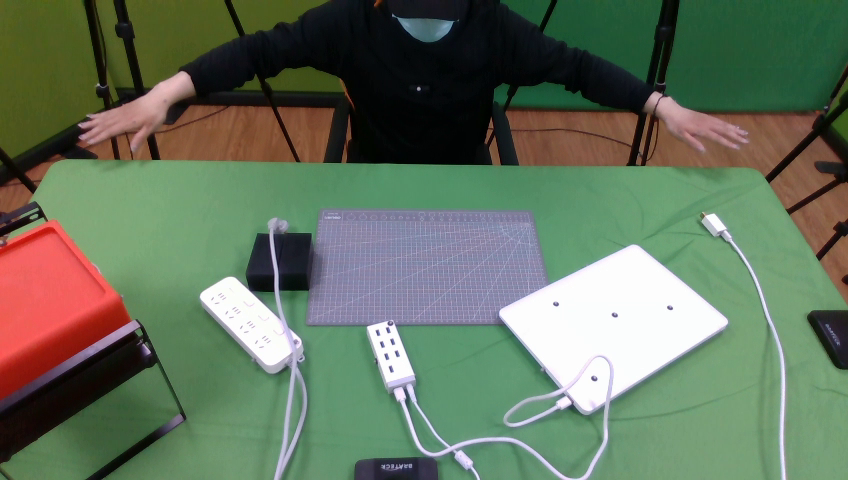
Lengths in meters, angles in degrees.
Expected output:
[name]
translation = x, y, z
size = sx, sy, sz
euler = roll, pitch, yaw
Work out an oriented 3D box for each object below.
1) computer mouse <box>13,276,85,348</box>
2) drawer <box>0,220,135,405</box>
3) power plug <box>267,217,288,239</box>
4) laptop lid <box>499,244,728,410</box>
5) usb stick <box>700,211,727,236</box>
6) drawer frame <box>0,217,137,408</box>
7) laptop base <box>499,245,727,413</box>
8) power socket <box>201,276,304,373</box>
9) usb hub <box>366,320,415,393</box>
[computer mouse]
translation = -0.497, 0.090, 0.804
size = 0.063, 0.041, 0.116
euler = -7, 42, -7
[drawer]
translation = -0.522, 0.093, 0.782
size = 0.193, 0.073, 0.211
euler = 38, 55, 27
[power plug]
translation = -0.286, -0.014, 1.168
size = 0.035, 0.053, 0.072
euler = -14, 37, 23
[laptop lid]
translation = 0.338, 0.136, 1.081
size = 0.357, 0.013, 0.240
euler = -21, 50, -23
[usb stick]
translation = 0.606, -0.038, 1.273
size = 0.027, 0.021, 0.059
euler = -19, 56, -20
[drawer frame]
translation = -0.523, 0.094, 0.779
size = 0.200, 0.083, 0.213
euler = 37, 55, 26
[laptop base]
translation = 0.339, 0.145, 1.088
size = 0.354, 0.023, 0.234
euler = -23, 49, -24
[power socket]
translation = -0.296, 0.141, 1.034
size = 0.225, 0.033, 0.072
euler = 37, 55, 26
[usb hub]
translation = -0.056, 0.192, 1.009
size = 0.049, 0.025, 0.124
euler = -12, 49, -16
